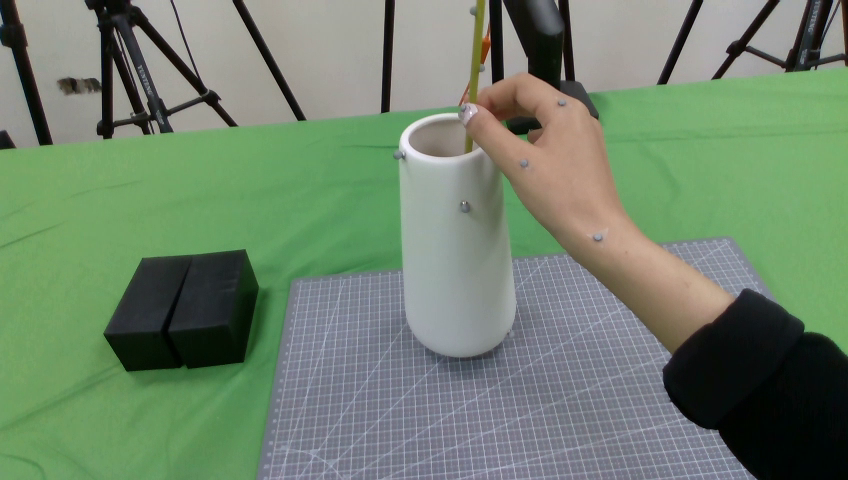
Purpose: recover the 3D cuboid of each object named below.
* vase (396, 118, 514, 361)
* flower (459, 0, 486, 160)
[{"bbox_3d":[0.023,0.005,0.489,0.098,0.202,0.097,-4,39,4],"label":"vase"},{"bbox_3d":[0.029,-0.054,0.422,0.044,0.364,0.038,-3,35,-11],"label":"flower"}]
